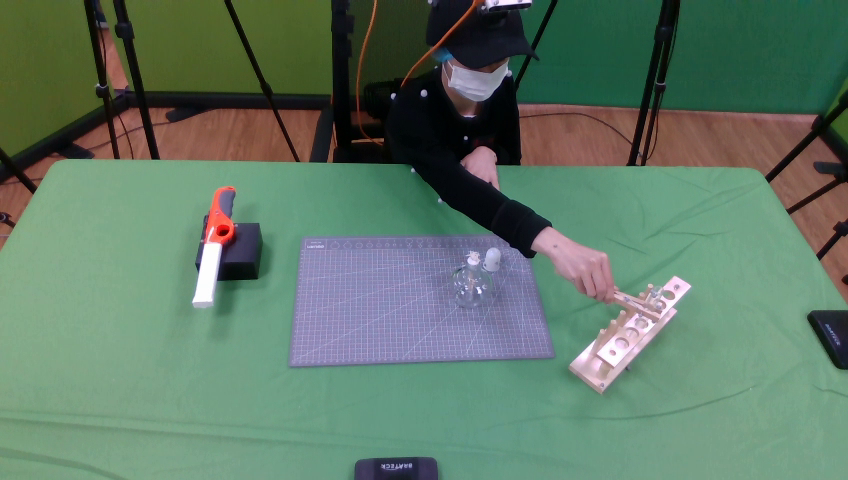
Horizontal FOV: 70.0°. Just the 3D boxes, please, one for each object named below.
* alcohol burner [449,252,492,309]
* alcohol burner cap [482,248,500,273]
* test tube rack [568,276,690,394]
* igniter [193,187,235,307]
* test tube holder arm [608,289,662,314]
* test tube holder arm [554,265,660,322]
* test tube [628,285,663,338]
[{"bbox_3d":[0.084,0.066,1.074,0.078,0.120,0.077,1,44,-1],"label":"alcohol burner"},{"bbox_3d":[0.130,0.037,1.156,0.034,0.048,0.033,1,45,-1],"label":"alcohol burner cap"},{"bbox_3d":[0.353,0.149,1.039,0.242,0.085,0.066,-34,56,-31],"label":"test tube rack"},{"bbox_3d":[-0.378,0.003,1.096,0.057,0.025,0.274,-1,49,-6],"label":"igniter"},{"bbox_3d":[0.337,0.099,0.974,0.087,0.015,0.010,19,50,13],"label":"test tube holder arm"},{"bbox_3d":[0.295,0.086,0.983,0.178,0.015,0.013,26,51,18],"label":"test tube holder arm"},{"bbox_3d":[0.356,0.123,0.979,0.017,0.151,0.017,1,49,-1],"label":"test tube"}]
